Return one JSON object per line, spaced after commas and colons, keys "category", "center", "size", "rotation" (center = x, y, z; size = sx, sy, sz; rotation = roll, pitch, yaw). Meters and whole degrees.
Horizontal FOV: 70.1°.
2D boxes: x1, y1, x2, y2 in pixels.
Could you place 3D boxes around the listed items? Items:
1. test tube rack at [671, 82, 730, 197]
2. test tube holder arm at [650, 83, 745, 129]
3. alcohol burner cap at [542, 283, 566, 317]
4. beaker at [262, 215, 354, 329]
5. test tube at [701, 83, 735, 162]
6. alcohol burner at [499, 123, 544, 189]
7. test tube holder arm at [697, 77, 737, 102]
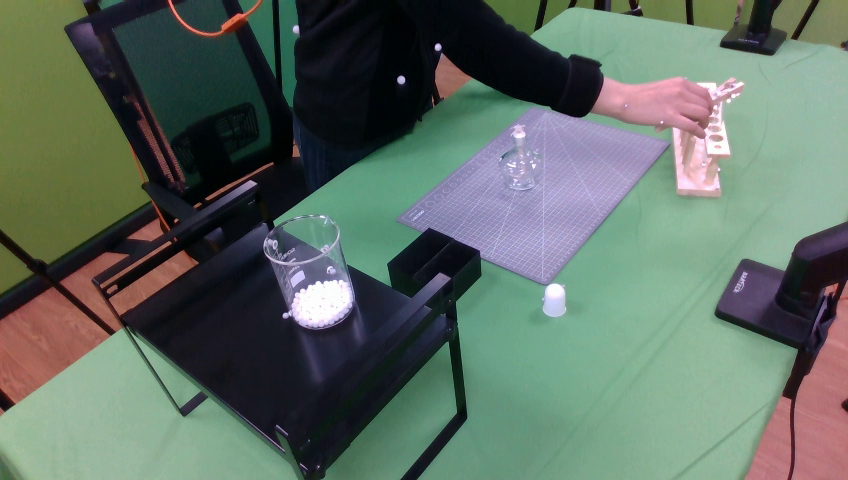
{"category": "test tube rack", "center": [0.482, -0.184, 1.067], "size": [0.066, 0.085, 0.242], "rotation": [6, 42, 14]}
{"category": "test tube holder arm", "center": [0.421, -0.207, 0.927], "size": [0.179, 0.015, 0.013], "rotation": [-24, 56, -15]}
{"category": "alcohol burner cap", "center": [0.181, 0.081, 0.839], "size": [0.034, 0.048, 0.033], "rotation": [-4, 41, 4]}
{"category": "beaker", "center": [-0.112, 0.034, 0.616], "size": [0.073, 0.101, 0.084], "rotation": [13, 44, 23]}
{"category": "test tube", "center": [0.482, -0.189, 0.996], "size": [0.017, 0.151, 0.017], "rotation": [-2, 46, 3]}
{"category": "alcohol burner", "center": [0.169, -0.149, 1.048], "size": [0.078, 0.119, 0.077], "rotation": [-6, 41, 5]}
{"category": "test tube holder arm", "center": [0.456, -0.230, 0.943], "size": [0.088, 0.015, 0.010], "rotation": [-33, 60, -20]}
